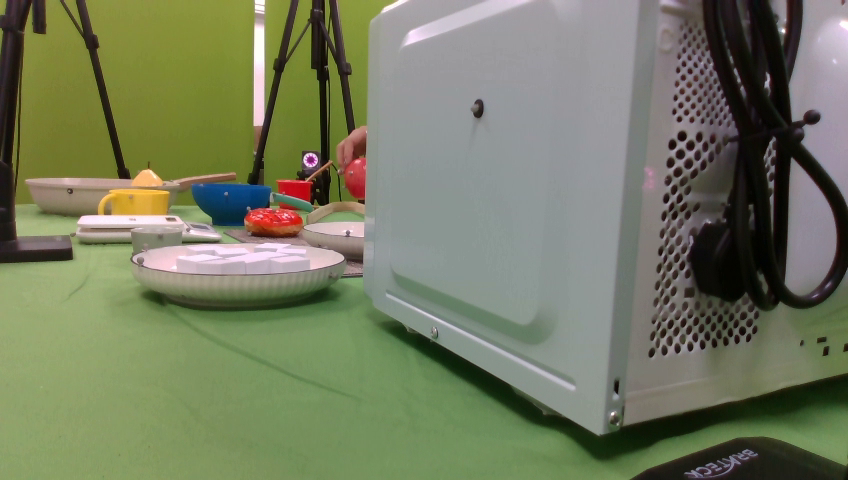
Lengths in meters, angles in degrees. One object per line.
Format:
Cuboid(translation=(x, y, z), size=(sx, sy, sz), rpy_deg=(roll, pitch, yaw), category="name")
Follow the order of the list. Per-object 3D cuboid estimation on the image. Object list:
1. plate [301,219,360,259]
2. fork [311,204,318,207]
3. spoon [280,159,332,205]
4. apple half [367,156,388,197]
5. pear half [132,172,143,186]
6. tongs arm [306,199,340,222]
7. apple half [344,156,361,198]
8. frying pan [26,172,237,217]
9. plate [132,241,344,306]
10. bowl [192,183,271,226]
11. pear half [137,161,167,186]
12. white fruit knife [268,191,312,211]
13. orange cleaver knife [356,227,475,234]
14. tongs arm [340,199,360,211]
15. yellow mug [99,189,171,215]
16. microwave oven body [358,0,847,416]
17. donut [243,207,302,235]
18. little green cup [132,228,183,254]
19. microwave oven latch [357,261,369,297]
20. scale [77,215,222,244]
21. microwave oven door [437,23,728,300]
Cuboid(translation=(-0.077, -0.002, 0.893), size=(0.209, 0.038, 0.209), rpy_deg=(3, 8, 0), category="plate")
Cuboid(translation=(-0.356, -0.105, 1.526), size=(0.208, 0.018, 0.028), rpy_deg=(16, -5, -41), category="fork")
Cuboid(translation=(-0.316, -0.159, 1.640), size=(0.194, 0.022, 0.041), rpy_deg=(-50, 32, -20), category="spoon")
Cuboid(translation=(-0.080, -0.116, 1.092), size=(0.033, 0.081, 0.081), rpy_deg=(-6, 7, 7), category="apple half")
Cuboid(translation=(-0.638, -0.113, 1.361), size=(0.031, 0.088, 0.070), rpy_deg=(5, 11, 4), category="pear half")
Cuboid(translation=(-0.234, -0.070, 1.413), size=(0.028, 0.028, 0.387), rpy_deg=(-4, 8, 0), category="tongs arm")
Cuboid(translation=(-0.118, -0.112, 1.095), size=(0.053, 0.074, 0.081), rpy_deg=(-7, 4, 6), category="apple half")
Cuboid(translation=(-0.624, -0.118, 1.387), size=(0.305, 0.102, 0.490), rpy_deg=(8, 17, 32), category="frying pan")
Cuboid(translation=(-0.187, 0.033, 0.625), size=(0.208, 0.039, 0.207), rpy_deg=(2, 8, 0), category="plate")
Cuboid(translation=(-0.382, -0.071, 1.202), size=(0.151, 0.077, 0.151), rpy_deg=(3, 7, 0), category="bowl")
Cuboid(translation=(-0.602, -0.120, 1.354), size=(0.056, 0.110, 0.076), rpy_deg=(4, 11, 6), category="pear half")
Cuboid(translation=(-0.364, -0.105, 1.464), size=(0.208, 0.027, 0.016), rpy_deg=(15, 0, -34), category="white fruit knife")
Cuboid(translation=(-0.017, -0.016, 1.080), size=(0.211, 0.012, 0.077), rpy_deg=(-1, 0, -2), category="orange cleaver knife")
Cuboid(translation=(-0.149, -0.071, 1.429), size=(0.051, 0.026, 0.383), rpy_deg=(-3, 9, -15), category="tongs arm")
Cuboid(translation=(-0.518, -0.055, 1.080), size=(0.099, 0.064, 0.131), rpy_deg=(7, 9, 26), category="yellow mug")
Cuboid(translation=(0.211, -0.047, 0.474), size=(0.444, 0.260, 0.324), rpy_deg=(-1, 7, -28), category="microwave oven body")
Cuboid(translation=(-0.261, -0.032, 1.043), size=(0.099, 0.048, 0.099), rpy_deg=(4, 9, 0), category="donut")
Cuboid(translation=(-0.342, 0.006, 0.779), size=(0.061, 0.038, 0.061), rpy_deg=(2, 8, 0), category="little green cup")
Cuboid(translation=(-0.019, 0.033, 0.530), size=(0.079, 0.029, 0.030), rpy_deg=(-1, 7, -26), category="microwave oven latch")
Cuboid(translation=(-0.434, -0.019, 0.963), size=(0.202, 0.031, 0.148), rpy_deg=(-1, 9, -27), category="scale")
Cuboid(translation=(0.181, -0.072, 0.621), size=(0.358, 0.243, 0.039), rpy_deg=(-2, 8, -29), category="microwave oven door")
